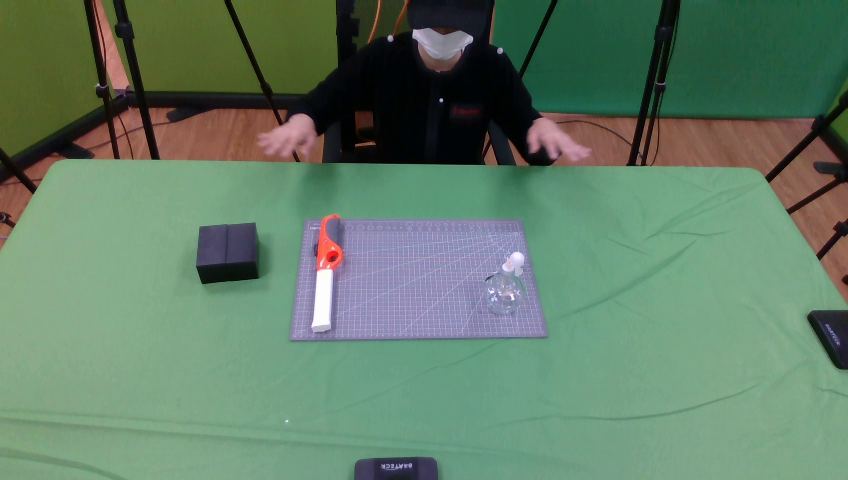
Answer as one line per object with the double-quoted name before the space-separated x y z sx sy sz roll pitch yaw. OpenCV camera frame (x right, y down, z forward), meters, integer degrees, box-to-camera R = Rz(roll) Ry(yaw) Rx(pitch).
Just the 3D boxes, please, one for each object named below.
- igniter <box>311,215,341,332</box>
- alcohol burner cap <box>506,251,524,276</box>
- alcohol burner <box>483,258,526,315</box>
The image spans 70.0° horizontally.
"igniter" -0.183 0.052 1.124 0.057 0.025 0.274 -7 46 3
"alcohol burner cap" 0.175 0.043 1.151 0.034 0.048 0.033 1 46 -1
"alcohol burner" 0.143 0.076 1.067 0.078 0.120 0.077 1 45 -1
